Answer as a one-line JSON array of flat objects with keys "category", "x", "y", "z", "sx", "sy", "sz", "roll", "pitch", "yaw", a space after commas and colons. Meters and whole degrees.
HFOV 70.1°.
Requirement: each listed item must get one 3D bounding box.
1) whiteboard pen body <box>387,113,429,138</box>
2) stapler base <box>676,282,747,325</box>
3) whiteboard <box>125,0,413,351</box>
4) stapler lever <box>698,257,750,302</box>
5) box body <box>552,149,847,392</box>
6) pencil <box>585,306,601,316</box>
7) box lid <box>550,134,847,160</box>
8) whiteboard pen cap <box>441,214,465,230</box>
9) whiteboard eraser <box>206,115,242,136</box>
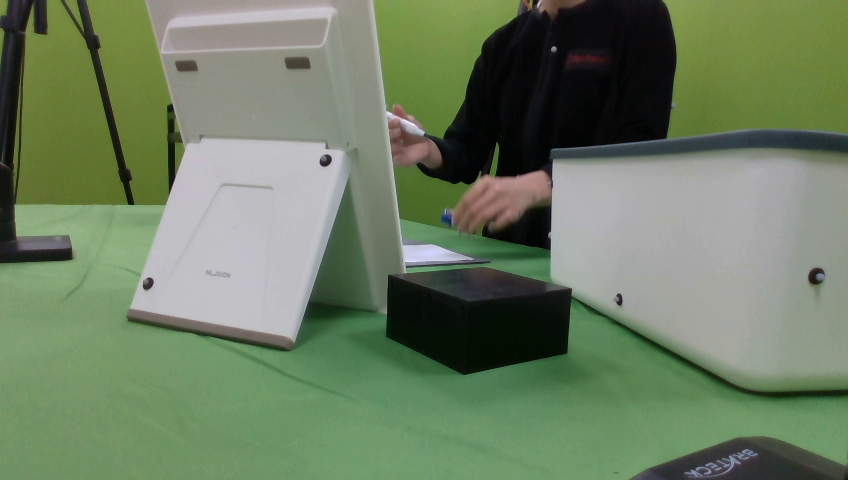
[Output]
[{"category": "whiteboard pen body", "x": -0.052, "y": -0.185, "z": 0.929, "sx": 0.140, "sy": 0.017, "sz": 0.017, "roll": 28, "pitch": 16, "yaw": 18}, {"category": "stapler base", "x": 0.283, "y": 0.057, "z": 0.585, "sx": 0.041, "sy": 0.024, "sz": 0.131, "roll": 31, "pitch": 19, "yaw": 33}, {"category": "whiteboard", "x": -0.151, "y": -0.050, "z": 0.471, "sx": 0.216, "sy": 0.305, "sz": 0.144, "roll": 6, "pitch": 27, "yaw": 24}, {"category": "stapler lever", "x": 0.291, "y": 0.035, "z": 0.580, "sx": 0.026, "sy": 0.040, "sz": 0.119, "roll": 31, "pitch": 21, "yaw": 33}, {"category": "box body", "x": 0.290, "y": 0.002, "z": 0.549, "sx": 0.255, "sy": 0.160, "sz": 0.363, "roll": 2, "pitch": 7, "yaw": -10}, {"category": "pencil", "x": 0.250, "y": 0.055, "z": 0.656, "sx": 0.195, "sy": 0.012, "sz": 0.012, "roll": -12, "pitch": 13, "yaw": -27}, {"category": "box lid", "x": 0.294, "y": -0.071, "z": 0.538, "sx": 0.264, "sy": 0.015, "sz": 0.370, "roll": 2, "pitch": 6, "yaw": -10}, {"category": "whiteboard pen cap", "x": 0.040, "y": -0.026, "z": 0.843, "sx": 0.033, "sy": 0.018, "sz": 0.018, "roll": 15, "pitch": 10, "yaw": 9}, {"category": "whiteboard eraser", "x": -0.438, "y": -0.249, "z": 1.320, "sx": 0.056, "sy": 0.042, "sz": 0.112, "roll": -3, "pitch": 9, "yaw": -30}]
